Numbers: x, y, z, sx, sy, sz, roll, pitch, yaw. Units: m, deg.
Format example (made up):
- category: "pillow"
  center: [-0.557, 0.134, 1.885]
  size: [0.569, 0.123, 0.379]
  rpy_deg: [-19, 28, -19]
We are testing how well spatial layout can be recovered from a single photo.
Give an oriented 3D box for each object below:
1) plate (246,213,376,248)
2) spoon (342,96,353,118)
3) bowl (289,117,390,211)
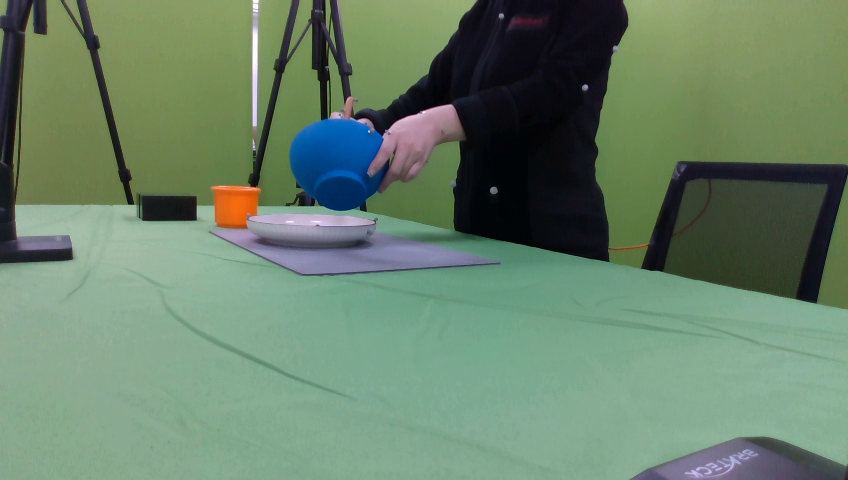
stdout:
- category: "plate"
  center: [-0.185, -0.017, 0.994]
  size: [0.209, 0.038, 0.209]
  rpy_deg: [3, 8, 0]
- category: "spoon"
  center: [-0.143, -0.158, 1.006]
  size: [0.041, 0.193, 0.022]
  rpy_deg: [4, -26, 15]
- category: "bowl"
  center: [-0.122, -0.095, 0.879]
  size: [0.152, 0.151, 0.076]
  rpy_deg: [1, 51, -9]
